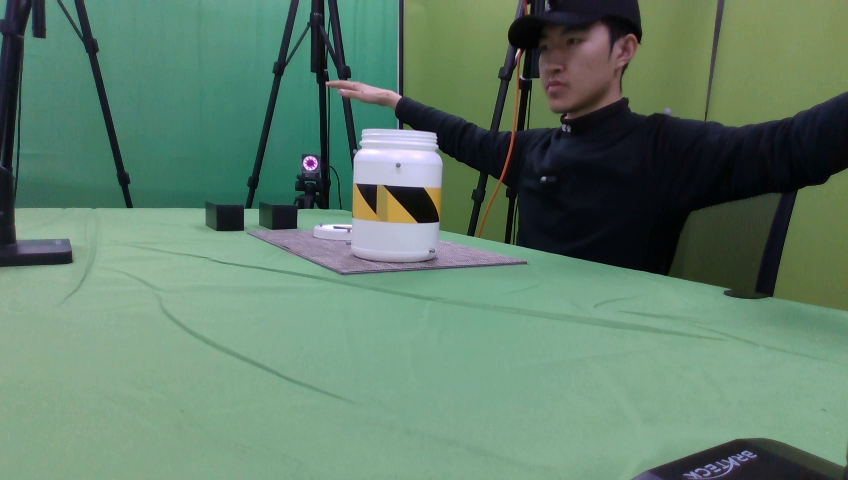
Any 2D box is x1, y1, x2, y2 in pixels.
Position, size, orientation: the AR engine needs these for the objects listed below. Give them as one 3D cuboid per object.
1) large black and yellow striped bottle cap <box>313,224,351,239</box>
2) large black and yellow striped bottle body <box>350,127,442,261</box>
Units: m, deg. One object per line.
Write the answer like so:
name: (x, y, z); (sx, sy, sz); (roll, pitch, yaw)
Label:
large black and yellow striped bottle cap: (-0.145, -0.016, 1.108); (0.115, 0.019, 0.115); (3, 7, 0)
large black and yellow striped bottle body: (-0.040, -0.068, 0.881); (0.131, 0.184, 0.130); (2, 7, 0)
